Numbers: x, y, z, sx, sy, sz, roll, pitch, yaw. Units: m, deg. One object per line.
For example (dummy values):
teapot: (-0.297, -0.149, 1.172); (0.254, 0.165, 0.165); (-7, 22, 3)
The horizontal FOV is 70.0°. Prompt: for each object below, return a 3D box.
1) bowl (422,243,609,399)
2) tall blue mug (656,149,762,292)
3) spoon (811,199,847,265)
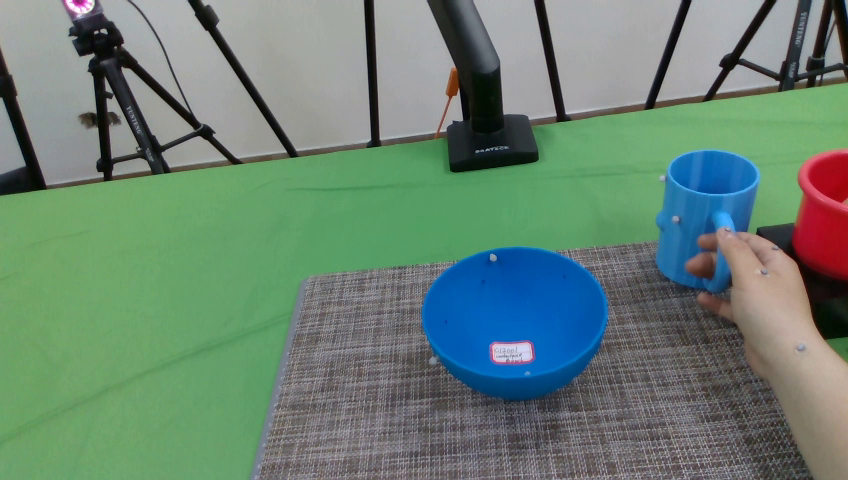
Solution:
bowl: (0.077, 0.081, 0.514); (0.151, 0.077, 0.150); (-6, 38, 6)
tall blue mug: (0.270, -0.012, 0.560); (0.078, 0.109, 0.106); (-19, 39, -11)
spoon: (0.380, -0.066, 0.499); (0.041, 0.022, 0.194); (32, 98, 43)
